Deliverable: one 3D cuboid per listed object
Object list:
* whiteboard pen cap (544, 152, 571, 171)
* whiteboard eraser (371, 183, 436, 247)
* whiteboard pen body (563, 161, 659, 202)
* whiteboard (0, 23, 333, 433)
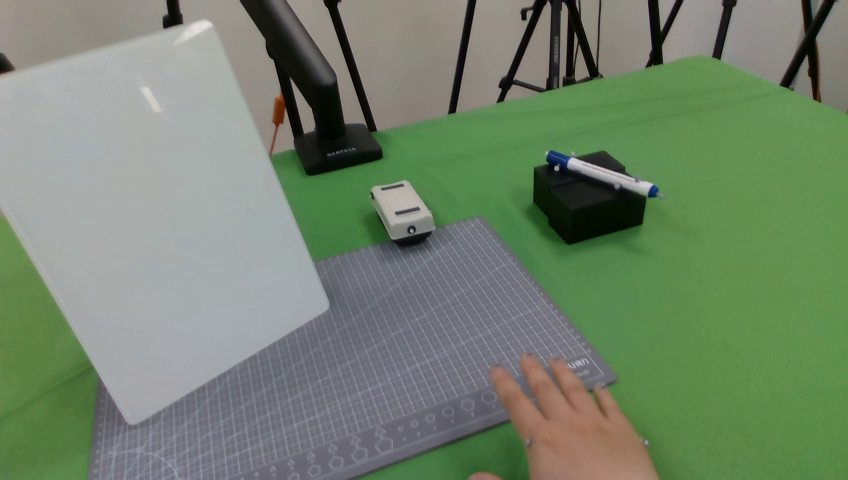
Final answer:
[{"bbox_3d":[0.167,-0.097,0.756,0.033,0.018,0.018,-16,32,17],"label":"whiteboard pen cap"},{"bbox_3d":[-0.027,-0.031,0.755,0.056,0.042,0.111,-16,33,-11],"label":"whiteboard eraser"},{"bbox_3d":[0.212,-0.074,0.719,0.017,0.017,0.139,-32,43,-33],"label":"whiteboard pen body"},{"bbox_3d":[-0.260,-0.019,0.590,0.217,0.307,0.143,-30,23,-30],"label":"whiteboard"}]
